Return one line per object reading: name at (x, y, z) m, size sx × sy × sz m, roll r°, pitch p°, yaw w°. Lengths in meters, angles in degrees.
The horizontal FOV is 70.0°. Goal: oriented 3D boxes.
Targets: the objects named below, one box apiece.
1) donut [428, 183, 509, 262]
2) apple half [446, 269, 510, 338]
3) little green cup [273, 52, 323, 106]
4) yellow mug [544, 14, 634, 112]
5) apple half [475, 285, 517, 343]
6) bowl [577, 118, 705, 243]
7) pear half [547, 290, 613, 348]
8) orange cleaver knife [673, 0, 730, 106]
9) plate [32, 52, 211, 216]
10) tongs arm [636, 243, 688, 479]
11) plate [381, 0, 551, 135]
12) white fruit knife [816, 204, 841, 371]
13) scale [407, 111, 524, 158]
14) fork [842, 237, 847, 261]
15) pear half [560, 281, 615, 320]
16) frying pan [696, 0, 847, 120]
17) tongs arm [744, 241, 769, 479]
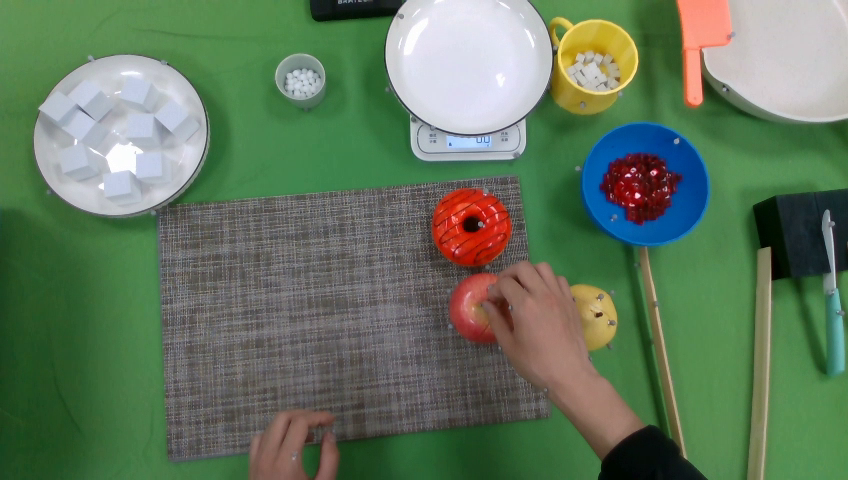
donut at (0.053, -0.021, 0.739) m, size 0.099 × 0.048 × 0.098 m, roll 0°, pitch 81°, yaw 0°
apple half at (0.054, 0.065, 0.690) m, size 0.053 × 0.075 × 0.080 m, roll 34°, pitch 85°, yaw 2°
little green cup at (-0.157, -0.201, 0.766) m, size 0.061 × 0.039 × 0.061 m, roll 0°, pitch 80°, yaw -2°
yellow mug at (0.198, -0.235, 0.774) m, size 0.100 × 0.064 × 0.130 m, roll -38°, pitch 83°, yaw -7°
apple half at (0.088, 0.088, 0.692) m, size 0.032 × 0.081 × 0.081 m, roll 26°, pitch 80°, yaw 10°
bowl at (0.253, -0.064, 0.742) m, size 0.151 × 0.077 × 0.151 m, roll 0°, pitch 81°, yaw -3°
pear half at (0.179, 0.095, 0.696) m, size 0.076 × 0.110 × 0.056 m, roll 25°, pitch 80°, yaw 6°
orange cleaver knife at (0.339, -0.268, 0.749) m, size 0.077 × 0.012 × 0.210 m, roll -1°, pitch 81°, yaw 0°
plate at (-0.364, -0.128, 0.744) m, size 0.208 × 0.039 × 0.207 m, roll 1°, pitch 80°, yaw -3°
tongs arm at (0.307, 0.190, 0.723) m, size 0.051 × 0.026 × 0.383 m, roll -5°, pitch 82°, yaw -7°
plate at (0.052, -0.226, 0.750) m, size 0.209 × 0.038 × 0.208 m, roll 1°, pitch 80°, yaw -3°
white fruit knife at (0.486, 0.060, 0.731) m, size 0.016 × 0.027 × 0.207 m, roll -8°, pitch 95°, yaw -4°
scale at (0.052, -0.206, 0.780) m, size 0.149 × 0.031 × 0.200 m, roll -1°, pitch 81°, yaw -3°
fork at (0.539, 0.094, 0.736) m, size 0.028 × 0.018 × 0.207 m, roll -15°, pitch 97°, yaw -7°
pear half at (0.196, 0.066, 0.711) m, size 0.070 × 0.088 × 0.031 m, roll 25°, pitch 81°, yaw 5°
frying pan at (0.529, -0.204, 0.765) m, size 0.307 × 0.103 × 0.485 m, roll -33°, pitch 75°, yaw -6°
tongs arm at (0.393, 0.191, 0.730) m, size 0.028 × 0.028 × 0.386 m, roll 10°, pitch 81°, yaw -8°
